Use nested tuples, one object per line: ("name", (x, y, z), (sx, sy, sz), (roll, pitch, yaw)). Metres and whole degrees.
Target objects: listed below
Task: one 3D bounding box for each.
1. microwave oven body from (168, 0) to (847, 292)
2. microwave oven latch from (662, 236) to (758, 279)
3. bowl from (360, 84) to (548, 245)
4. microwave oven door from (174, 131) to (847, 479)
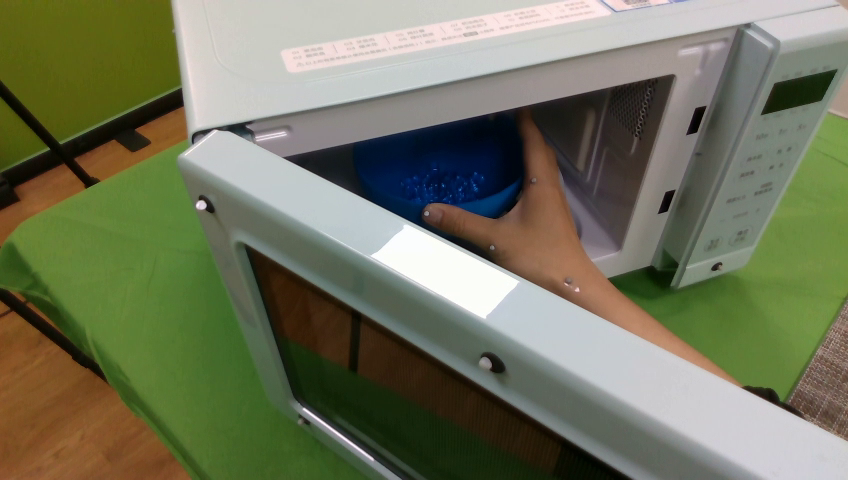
("microwave oven body", (0.041, -0.111, 0.539), (0.442, 0.262, 0.322), (-16, 48, -13))
("microwave oven latch", (0.260, 0.009, 0.552), (0.079, 0.030, 0.030), (-14, 47, -12))
("bowl", (0.023, -0.051, 0.516), (0.151, 0.077, 0.150), (1, 59, -2))
("microwave oven door", (0.027, 0.103, 0.320), (0.353, 0.246, 0.039), (26, 52, 25))
